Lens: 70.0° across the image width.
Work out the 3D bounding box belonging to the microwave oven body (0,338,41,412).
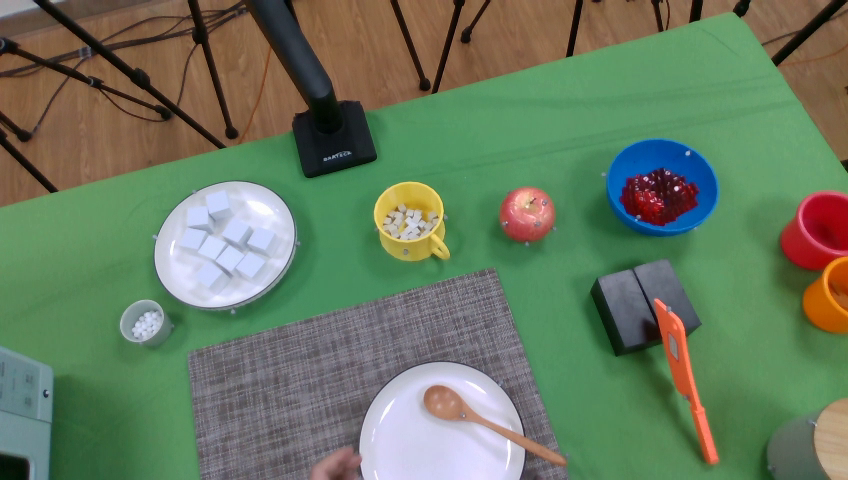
[{"bbox_3d":[-0.630,0.339,0.640,0.326,0.262,0.438,-12,66,-3],"label":"microwave oven body"}]

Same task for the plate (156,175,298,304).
[{"bbox_3d":[-0.288,0.001,0.901,0.207,0.039,0.206,-1,65,3],"label":"plate"}]

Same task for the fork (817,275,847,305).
[{"bbox_3d":[0.547,0.094,0.744,0.028,0.019,0.206,1,22,3],"label":"fork"}]

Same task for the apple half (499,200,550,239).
[{"bbox_3d":[0.137,-0.020,0.864,0.081,0.082,0.032,24,66,14],"label":"apple half"}]

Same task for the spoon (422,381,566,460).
[{"bbox_3d":[0.084,0.228,0.755,0.192,0.022,0.041,20,62,25],"label":"spoon"}]

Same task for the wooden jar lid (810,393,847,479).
[{"bbox_3d":[0.461,0.216,0.638,0.108,0.021,0.107,-1,67,2],"label":"wooden jar lid"}]

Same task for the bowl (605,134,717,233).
[{"bbox_3d":[0.330,-0.068,0.872,0.151,0.077,0.150,-1,66,3],"label":"bowl"}]

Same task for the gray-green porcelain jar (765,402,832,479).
[{"bbox_3d":[0.465,0.244,0.694,0.106,0.127,0.105,-1,65,3],"label":"gray-green porcelain jar"}]

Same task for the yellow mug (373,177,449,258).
[{"bbox_3d":[-0.010,-0.023,0.879,0.100,0.064,0.130,-42,70,-15],"label":"yellow mug"}]

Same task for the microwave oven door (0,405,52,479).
[{"bbox_3d":[-0.479,0.344,0.623,0.039,0.246,0.352,-13,65,-2],"label":"microwave oven door"}]

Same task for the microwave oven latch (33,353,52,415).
[{"bbox_3d":[-0.516,0.193,0.806,0.030,0.030,0.078,-11,66,-2],"label":"microwave oven latch"}]

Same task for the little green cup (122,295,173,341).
[{"bbox_3d":[-0.387,0.113,0.854,0.061,0.039,0.061,-1,66,2],"label":"little green cup"}]

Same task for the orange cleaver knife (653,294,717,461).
[{"bbox_3d":[0.323,0.170,0.756,0.012,0.077,0.212,-18,98,0],"label":"orange cleaver knife"}]

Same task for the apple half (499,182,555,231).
[{"bbox_3d":[0.154,-0.051,0.878,0.080,0.075,0.053,22,65,17],"label":"apple half"}]

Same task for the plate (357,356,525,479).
[{"bbox_3d":[0.021,0.252,0.763,0.209,0.038,0.207,-1,66,3],"label":"plate"}]
